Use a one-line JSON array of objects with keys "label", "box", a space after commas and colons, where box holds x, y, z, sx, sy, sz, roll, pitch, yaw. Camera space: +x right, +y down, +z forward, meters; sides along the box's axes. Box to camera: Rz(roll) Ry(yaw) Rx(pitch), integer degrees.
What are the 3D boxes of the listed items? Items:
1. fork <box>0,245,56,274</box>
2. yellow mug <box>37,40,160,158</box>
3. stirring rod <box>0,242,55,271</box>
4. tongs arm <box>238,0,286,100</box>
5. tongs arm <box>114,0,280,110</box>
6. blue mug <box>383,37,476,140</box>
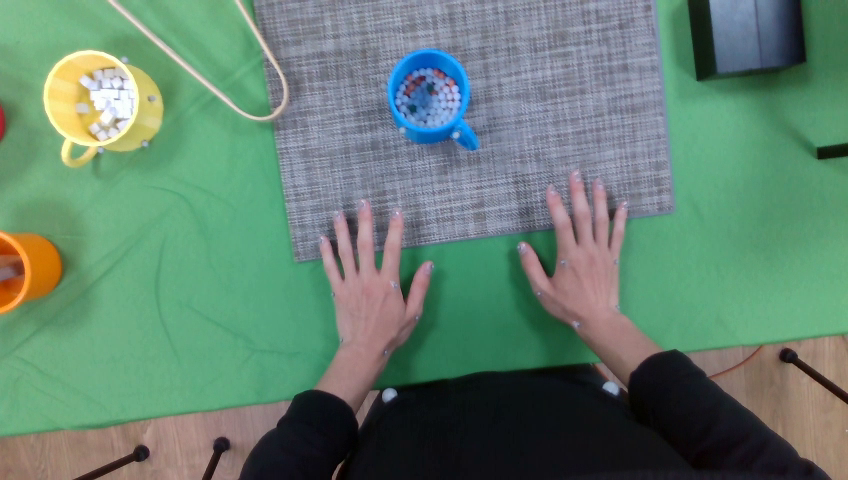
[{"label": "fork", "box": [-0.498, 0.005, 0.628, 0.209, 0.018, 0.028, 20, 89, -46]}, {"label": "yellow mug", "box": [-0.359, -0.146, 0.660, 0.100, 0.064, 0.131, 31, 95, -5]}, {"label": "stirring rod", "box": [-0.484, 0.038, 0.637, 0.176, 0.006, 0.014, -27, 92, -41]}, {"label": "tongs arm", "box": [-0.252, -0.327, 0.644, 0.028, 0.027, 0.389, -33, 102, -7]}, {"label": "tongs arm", "box": [-0.316, -0.272, 0.644, 0.386, 0.026, 0.051, 44, 89, -12]}, {"label": "blue mug", "box": [0.012, -0.149, 0.647, 0.117, 0.105, 0.082, 44, 92, -5]}]
